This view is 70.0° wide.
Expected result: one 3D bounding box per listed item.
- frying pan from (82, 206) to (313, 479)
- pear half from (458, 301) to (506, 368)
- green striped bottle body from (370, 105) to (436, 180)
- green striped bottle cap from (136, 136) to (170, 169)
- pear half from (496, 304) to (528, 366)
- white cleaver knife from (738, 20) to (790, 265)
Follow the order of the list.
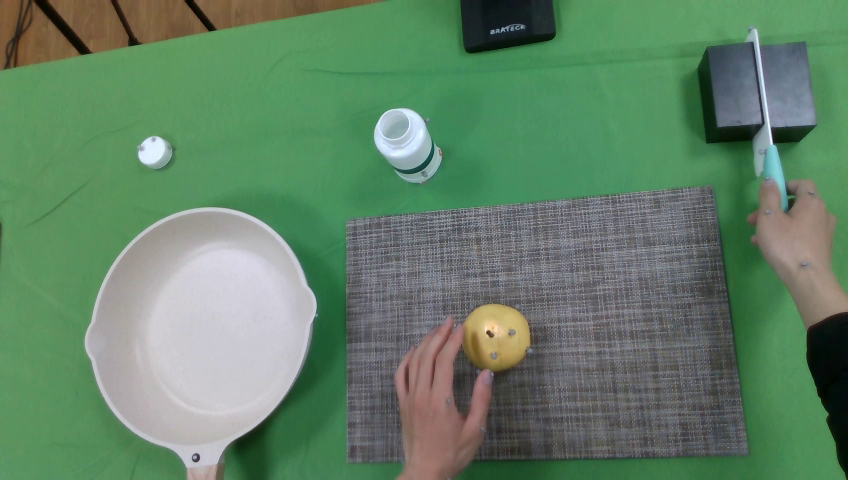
[{"bbox_3d":[-0.263,0.201,0.726,0.306,0.103,0.484,-10,69,10],"label":"frying pan"},{"bbox_3d":[0.064,0.103,0.674,0.056,0.110,0.076,-1,73,12],"label":"pear half"},{"bbox_3d":[-0.026,-0.120,0.735,0.063,0.120,0.063,-2,77,11],"label":"green striped bottle body"},{"bbox_3d":[-0.385,-0.125,0.861,0.044,0.020,0.044,-2,78,12],"label":"green striped bottle cap"},{"bbox_3d":[0.100,0.106,0.676,0.031,0.088,0.070,0,74,13],"label":"pear half"},{"bbox_3d":[0.378,-0.112,0.679,0.021,0.066,0.285,-4,76,18],"label":"white cleaver knife"}]
